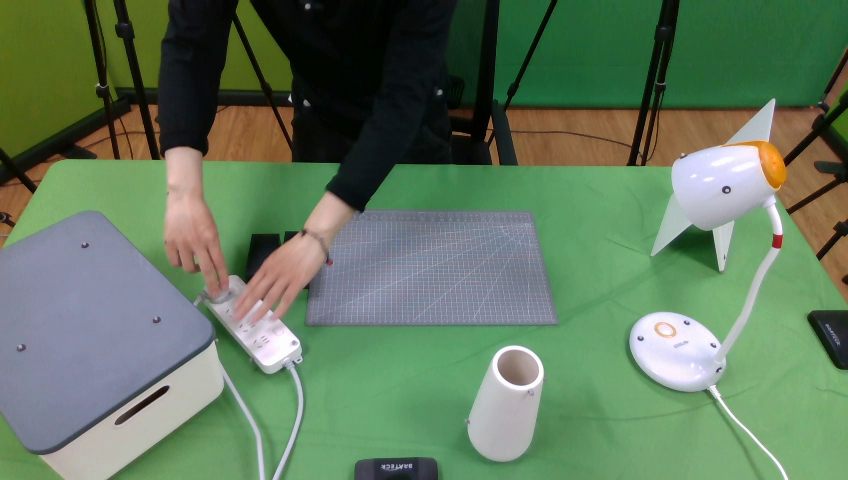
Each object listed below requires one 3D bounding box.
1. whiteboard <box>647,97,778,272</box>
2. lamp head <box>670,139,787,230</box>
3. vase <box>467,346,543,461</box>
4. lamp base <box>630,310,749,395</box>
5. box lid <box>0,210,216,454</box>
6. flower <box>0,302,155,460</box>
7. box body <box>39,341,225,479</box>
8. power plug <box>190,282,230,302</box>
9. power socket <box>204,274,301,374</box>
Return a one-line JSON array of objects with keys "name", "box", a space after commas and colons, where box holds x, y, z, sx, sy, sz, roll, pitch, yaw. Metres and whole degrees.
[{"name": "whiteboard", "box": [0.602, -0.079, 1.162, 0.144, 0.306, 0.216, 35, 51, 2]}, {"name": "lamp head", "box": [0.415, -0.079, 0.812, 0.113, 0.123, 0.112, 12, 70, -37]}, {"name": "vase", "box": [0.116, 0.234, 0.861, 0.098, 0.201, 0.097, 1, 47, -1]}, {"name": "lamp base", "box": [0.447, 0.142, 0.984, 0.161, 0.181, 0.178, -24, 55, -24]}, {"name": "box lid", "box": [-0.504, 0.102, 0.863, 0.369, 0.015, 0.263, 35, 53, 26]}, {"name": "flower", "box": [-0.553, 0.222, 0.944, 0.361, 0.038, 0.044, 39, 62, 6]}, {"name": "box body", "box": [-0.506, 0.154, 0.916, 0.362, 0.161, 0.254, 35, 54, 26]}, {"name": "power plug", "box": [-0.369, 0.096, 1.039, 0.072, 0.053, 0.035, -24, 55, -21]}, {"name": "power socket", "box": [-0.296, 0.140, 1.035, 0.072, 0.033, 0.225, -33, 57, -29]}]
